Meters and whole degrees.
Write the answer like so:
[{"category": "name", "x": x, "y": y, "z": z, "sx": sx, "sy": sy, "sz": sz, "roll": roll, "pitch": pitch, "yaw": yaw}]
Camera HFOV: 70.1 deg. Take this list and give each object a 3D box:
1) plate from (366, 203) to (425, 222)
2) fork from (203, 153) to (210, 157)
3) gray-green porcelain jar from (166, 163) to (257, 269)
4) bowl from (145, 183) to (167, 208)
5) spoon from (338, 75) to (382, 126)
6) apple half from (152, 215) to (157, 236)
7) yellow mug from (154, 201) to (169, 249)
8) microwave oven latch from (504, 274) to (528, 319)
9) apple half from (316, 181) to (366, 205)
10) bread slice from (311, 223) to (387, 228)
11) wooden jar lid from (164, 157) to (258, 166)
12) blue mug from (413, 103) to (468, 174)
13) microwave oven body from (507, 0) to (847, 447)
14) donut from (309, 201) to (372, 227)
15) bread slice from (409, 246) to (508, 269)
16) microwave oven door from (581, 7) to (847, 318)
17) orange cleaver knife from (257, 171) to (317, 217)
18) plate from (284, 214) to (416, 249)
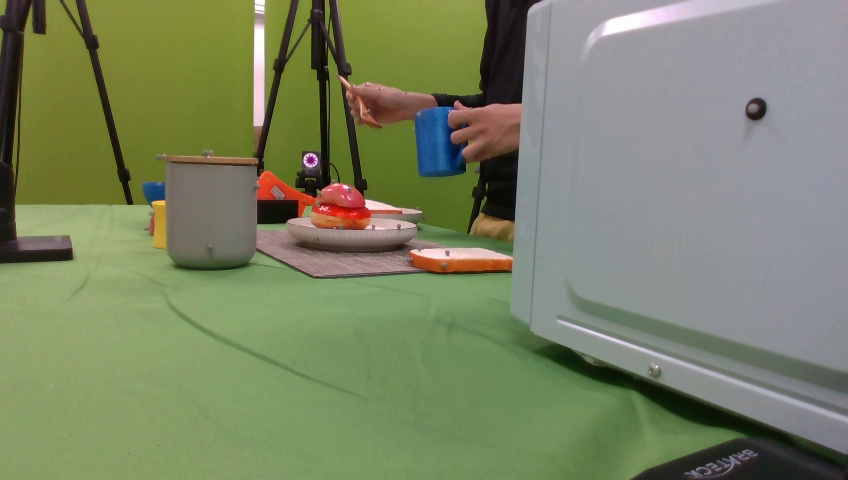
[{"category": "plate", "x": -0.102, "y": -0.053, "z": 1.299, "sx": 0.209, "sy": 0.038, "sz": 0.209, "roll": 2, "pitch": 8, "yaw": 0}, {"category": "fork", "x": -0.480, "y": -0.136, "z": 1.411, "sx": 0.028, "sy": 0.018, "sz": 0.207, "roll": 0, "pitch": -34, "yaw": -1}, {"category": "gray-green porcelain jar", "x": -0.263, "y": -0.031, "z": 0.754, "sx": 0.106, "sy": 0.126, "sz": 0.106, "roll": 2, "pitch": 7, "yaw": 0}, {"category": "bowl", "x": -0.459, "y": -0.069, "z": 1.175, "sx": 0.151, "sy": 0.077, "sz": 0.151, "roll": 2, "pitch": 7, "yaw": 0}, {"category": "spoon", "x": -0.129, "y": -0.275, "z": 1.179, "sx": 0.042, "sy": 0.021, "sz": 0.193, "roll": 15, "pitch": 34, "yaw": -43}, {"category": "apple half", "x": -0.415, "y": -0.034, "z": 1.017, "sx": 0.081, "sy": 0.053, "sz": 0.074, "roll": 1, "pitch": 10, "yaw": -8}, {"category": "yellow mug", "x": -0.337, "y": -0.022, "z": 0.899, "sx": 0.130, "sy": 0.064, "sz": 0.100, "roll": 8, "pitch": 9, "yaw": 34}, {"category": "microwave oven latch", "x": 0.100, "y": 0.041, "z": 0.471, "sx": 0.079, "sy": 0.029, "sz": 0.030, "roll": -1, "pitch": 7, "yaw": -27}, {"category": "apple half", "x": -0.128, "y": -0.076, "z": 0.954, "sx": 0.081, "sy": 0.033, "sz": 0.081, "roll": 6, "pitch": 12, "yaw": -1}, {"category": "bread slice", "x": -0.120, "y": -0.014, "z": 0.970, "sx": 0.106, "sy": 0.018, "sz": 0.135, "roll": 9, "pitch": 11, "yaw": 41}, {"category": "wooden jar lid", "x": -0.261, "y": -0.093, "z": 0.746, "sx": 0.108, "sy": 0.020, "sz": 0.108, "roll": 0, "pitch": 9, "yaw": 0}, {"category": "blue mug", "x": 0.036, "y": -0.170, "z": 1.009, "sx": 0.083, "sy": 0.105, "sz": 0.116, "roll": -4, "pitch": -1, "yaw": -33}, {"category": "microwave oven body", "x": 0.331, "y": -0.042, "z": 0.425, "sx": 0.444, "sy": 0.260, "sz": 0.324, "roll": -2, "pitch": 8, "yaw": -31}, {"category": "donut", "x": -0.132, "y": -0.042, "z": 0.959, "sx": 0.099, "sy": 0.048, "sz": 0.099, "roll": 2, "pitch": 8, "yaw": 0}, {"category": "bread slice", "x": 0.048, "y": 0.022, "z": 0.816, "sx": 0.132, "sy": 0.019, "sz": 0.104, "roll": 0, "pitch": 7, "yaw": -24}, {"category": "microwave oven door", "x": 0.295, "y": -0.067, "z": 0.569, "sx": 0.358, "sy": 0.243, "sz": 0.039, "roll": -3, "pitch": 8, "yaw": -31}, {"category": "orange cleaver knife", "x": -0.283, "y": -0.087, "z": 1.343, "sx": 0.212, "sy": 0.077, "sz": 0.012, "roll": 24, "pitch": -16, "yaw": -41}, {"category": "plate", "x": -0.116, "y": -0.014, "z": 0.967, "sx": 0.208, "sy": 0.039, "sz": 0.207, "roll": 2, "pitch": 8, "yaw": 0}]
